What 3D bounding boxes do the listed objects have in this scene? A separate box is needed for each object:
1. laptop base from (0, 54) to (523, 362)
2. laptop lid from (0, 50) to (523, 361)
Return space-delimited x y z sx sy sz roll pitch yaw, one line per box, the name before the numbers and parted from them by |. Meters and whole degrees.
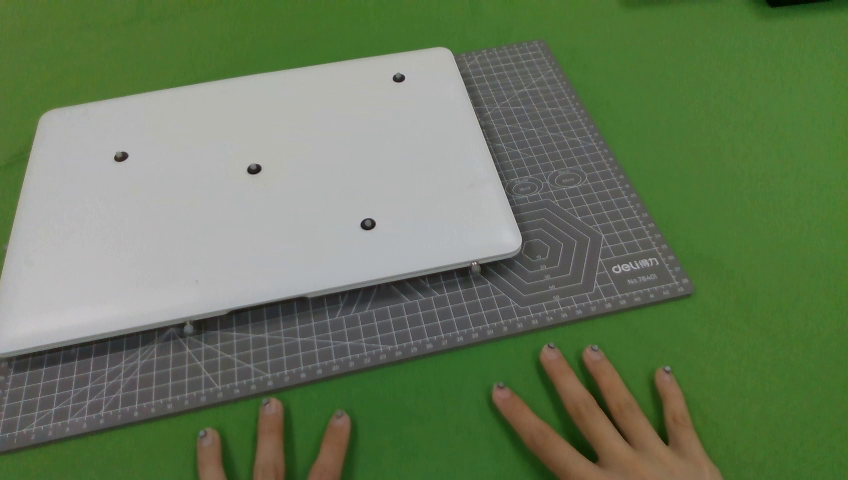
laptop base | -0.125 -0.042 0.469 0.355 0.023 0.233 -11 55 -6
laptop lid | -0.125 -0.047 0.458 0.357 0.013 0.239 -10 54 -4
